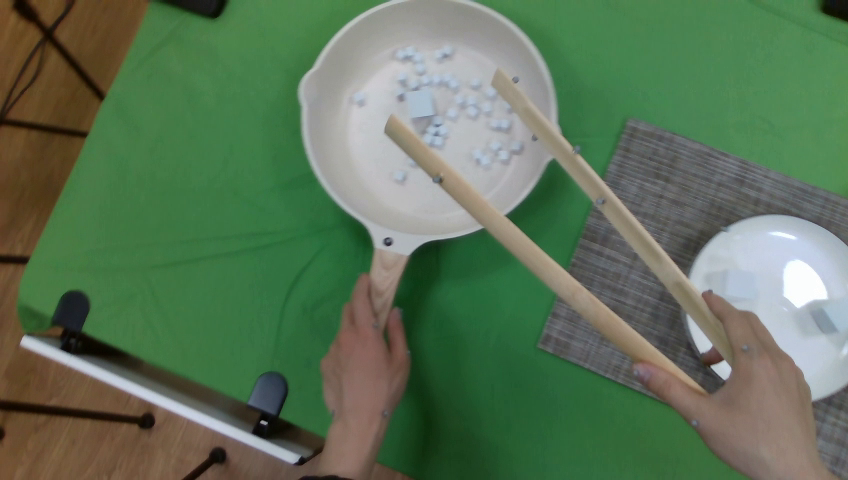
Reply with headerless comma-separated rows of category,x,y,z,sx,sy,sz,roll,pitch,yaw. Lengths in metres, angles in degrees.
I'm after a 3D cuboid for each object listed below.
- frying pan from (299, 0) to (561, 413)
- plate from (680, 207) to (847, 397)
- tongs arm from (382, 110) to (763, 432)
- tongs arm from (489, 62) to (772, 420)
frying pan,-0.023,-0.048,0.691,0.306,0.103,0.485,15,75,7
plate,0.388,0.068,0.676,0.207,0.039,0.207,-1,82,4
tongs arm,0.107,0.021,0.496,0.386,0.028,0.028,42,52,10
tongs arm,0.163,-0.013,0.534,0.051,0.026,0.382,-27,71,-31
